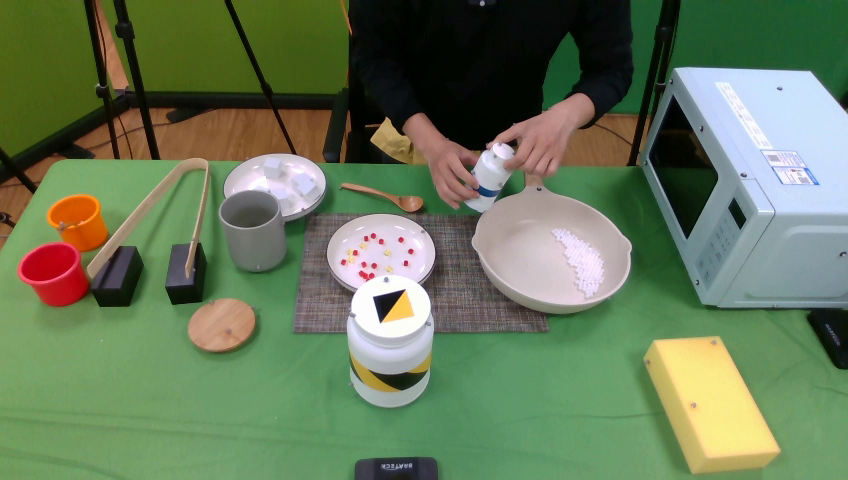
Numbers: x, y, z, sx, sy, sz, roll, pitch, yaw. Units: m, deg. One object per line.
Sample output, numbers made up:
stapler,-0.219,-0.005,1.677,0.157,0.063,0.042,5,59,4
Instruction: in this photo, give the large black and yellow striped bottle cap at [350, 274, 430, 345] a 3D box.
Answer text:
large black and yellow striped bottle cap,-0.048,0.097,0.868,0.115,0.019,0.114,3,48,-3

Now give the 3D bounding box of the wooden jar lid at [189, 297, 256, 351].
wooden jar lid,-0.342,0.145,1.033,0.108,0.021,0.107,2,45,-2

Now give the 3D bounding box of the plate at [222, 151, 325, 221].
plate,-0.310,-0.106,1.262,0.208,0.039,0.206,2,47,-2

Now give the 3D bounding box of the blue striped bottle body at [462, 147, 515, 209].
blue striped bottle body,0.116,-0.115,1.062,0.063,0.121,0.062,14,46,-14

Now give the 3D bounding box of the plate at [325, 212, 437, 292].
plate,-0.080,0.030,1.143,0.209,0.038,0.208,3,46,-2

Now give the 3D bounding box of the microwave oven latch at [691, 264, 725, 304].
microwave oven latch,0.521,0.081,1.116,0.030,0.029,0.078,0,46,-3

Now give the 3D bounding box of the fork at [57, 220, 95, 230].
fork,-0.624,-0.027,1.086,0.028,0.207,0.018,-3,92,-17

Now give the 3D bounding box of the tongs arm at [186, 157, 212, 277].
tongs arm,-0.445,-0.058,1.168,0.051,0.026,0.382,-5,37,-6

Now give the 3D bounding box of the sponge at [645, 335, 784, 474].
sponge,0.449,0.253,0.956,0.118,0.061,0.205,-4,46,-7

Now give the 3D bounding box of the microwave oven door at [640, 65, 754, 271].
microwave oven door,0.523,-0.147,1.193,0.039,0.245,0.353,0,47,-3

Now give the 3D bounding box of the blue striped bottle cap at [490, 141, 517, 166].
blue striped bottle cap,0.134,-0.147,1.026,0.045,0.021,0.044,12,44,-12

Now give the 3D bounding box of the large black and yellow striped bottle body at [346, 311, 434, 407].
large black and yellow striped bottle body,-0.052,0.157,0.929,0.131,0.185,0.130,2,47,-2

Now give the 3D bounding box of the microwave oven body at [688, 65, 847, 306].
microwave oven body,0.669,-0.111,1.176,0.326,0.261,0.439,0,46,-3

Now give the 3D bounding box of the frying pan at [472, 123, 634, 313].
frying pan,0.235,-0.061,1.207,0.307,0.103,0.484,1,55,-6

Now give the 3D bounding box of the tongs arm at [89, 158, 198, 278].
tongs arm,-0.529,-0.057,1.164,0.028,0.028,0.385,1,36,8

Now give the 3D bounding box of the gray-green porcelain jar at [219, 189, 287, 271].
gray-green porcelain jar,-0.310,-0.014,1.113,0.106,0.127,0.105,2,46,-2

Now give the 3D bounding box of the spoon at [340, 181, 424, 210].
spoon,-0.090,-0.100,1.282,0.193,0.022,0.041,18,61,13
